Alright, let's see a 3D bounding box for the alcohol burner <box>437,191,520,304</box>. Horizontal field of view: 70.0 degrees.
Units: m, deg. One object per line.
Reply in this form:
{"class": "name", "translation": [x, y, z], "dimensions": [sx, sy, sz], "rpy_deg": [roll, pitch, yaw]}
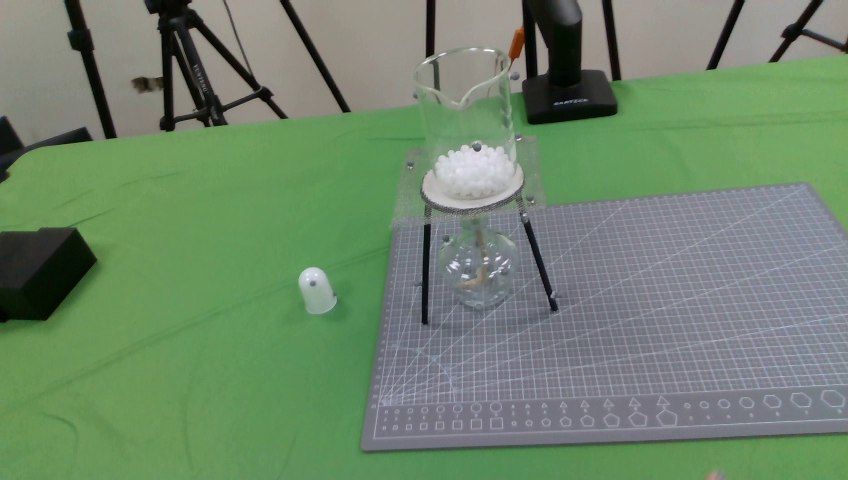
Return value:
{"class": "alcohol burner", "translation": [0.049, 0.002, 0.556], "dimensions": [0.078, 0.120, 0.077], "rpy_deg": [-5, 41, 5]}

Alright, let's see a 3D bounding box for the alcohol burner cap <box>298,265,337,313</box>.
{"class": "alcohol burner cap", "translation": [-0.107, 0.045, 0.602], "dimensions": [0.034, 0.048, 0.033], "rpy_deg": [-6, 41, 5]}

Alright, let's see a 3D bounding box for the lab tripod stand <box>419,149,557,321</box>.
{"class": "lab tripod stand", "translation": [0.049, -0.006, 0.550], "dimensions": [0.148, 0.133, 0.147], "rpy_deg": [-8, 39, 7]}

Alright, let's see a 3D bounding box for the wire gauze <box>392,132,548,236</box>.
{"class": "wire gauze", "translation": [0.038, -0.053, 0.505], "dimensions": [0.121, 0.011, 0.124], "rpy_deg": [-6, 41, 10]}

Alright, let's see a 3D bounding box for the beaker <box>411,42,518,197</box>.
{"class": "beaker", "translation": [0.035, -0.090, 0.473], "dimensions": [0.074, 0.101, 0.083], "rpy_deg": [-5, 40, 11]}
